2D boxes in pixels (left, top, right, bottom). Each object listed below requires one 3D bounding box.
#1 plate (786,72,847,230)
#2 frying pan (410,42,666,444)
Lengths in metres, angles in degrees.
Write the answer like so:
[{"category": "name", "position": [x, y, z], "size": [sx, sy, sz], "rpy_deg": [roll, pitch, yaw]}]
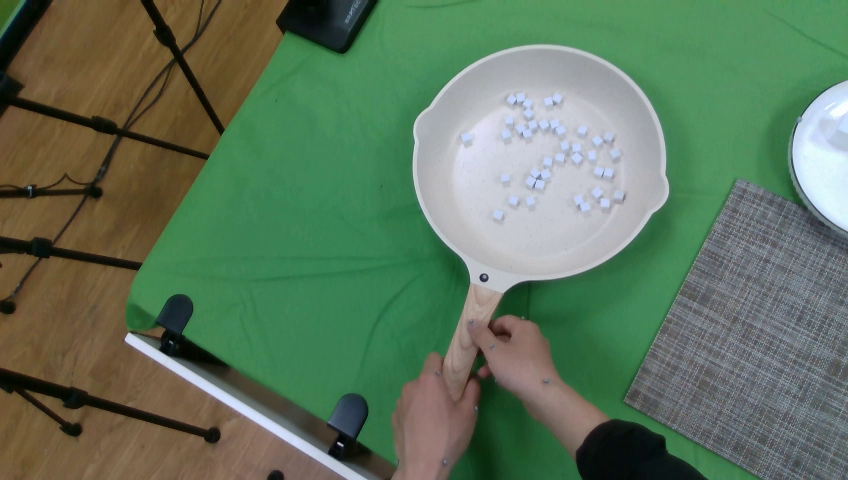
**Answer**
[{"category": "plate", "position": [0.524, -0.097, 0.693], "size": [0.207, 0.039, 0.206], "rpy_deg": [-2, 76, 9]}, {"category": "frying pan", "position": [0.091, -0.003, 0.704], "size": [0.305, 0.103, 0.486], "rpy_deg": [20, 72, 14]}]
